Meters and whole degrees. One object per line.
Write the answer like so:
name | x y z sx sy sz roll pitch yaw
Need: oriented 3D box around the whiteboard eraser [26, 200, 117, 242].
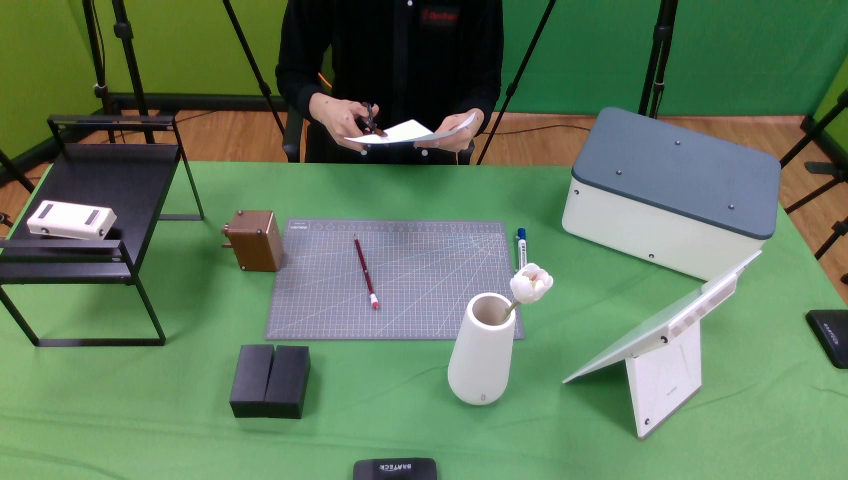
whiteboard eraser | -0.532 -0.026 0.919 0.113 0.042 0.055 7 45 3

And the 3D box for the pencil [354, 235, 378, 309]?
pencil | -0.112 0.055 1.143 0.012 0.012 0.192 -10 46 -13

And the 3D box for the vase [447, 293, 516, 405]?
vase | 0.091 0.169 0.921 0.098 0.201 0.097 3 47 -3

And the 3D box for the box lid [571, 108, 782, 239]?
box lid | 0.491 -0.139 1.168 0.370 0.015 0.262 20 49 15

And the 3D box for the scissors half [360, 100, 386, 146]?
scissors half | -0.087 -0.199 1.039 0.013 0.040 0.174 -6 36 -17

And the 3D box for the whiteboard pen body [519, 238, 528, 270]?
whiteboard pen body | 0.193 0.035 1.180 0.017 0.017 0.140 6 48 1

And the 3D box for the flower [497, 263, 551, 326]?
flower | 0.102 0.121 0.852 0.044 0.363 0.038 -2 64 -10

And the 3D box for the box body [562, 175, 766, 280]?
box body | 0.486 -0.088 1.222 0.363 0.161 0.253 20 48 15

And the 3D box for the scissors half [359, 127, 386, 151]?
scissors half | -0.089 -0.178 1.046 0.013 0.040 0.174 -1 4 -19

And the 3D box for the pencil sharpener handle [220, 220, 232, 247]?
pencil sharpener handle | -0.362 -0.009 1.105 0.030 0.068 0.036 1 52 1

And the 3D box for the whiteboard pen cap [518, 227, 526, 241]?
whiteboard pen cap | 0.197 -0.009 1.220 0.018 0.018 0.033 6 51 1

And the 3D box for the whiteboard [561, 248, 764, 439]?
whiteboard | 0.386 0.176 0.905 0.217 0.306 0.143 -26 72 -27

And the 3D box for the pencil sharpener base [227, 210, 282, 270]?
pencil sharpener base | -0.311 0.001 1.112 0.077 0.107 0.061 1 47 1
